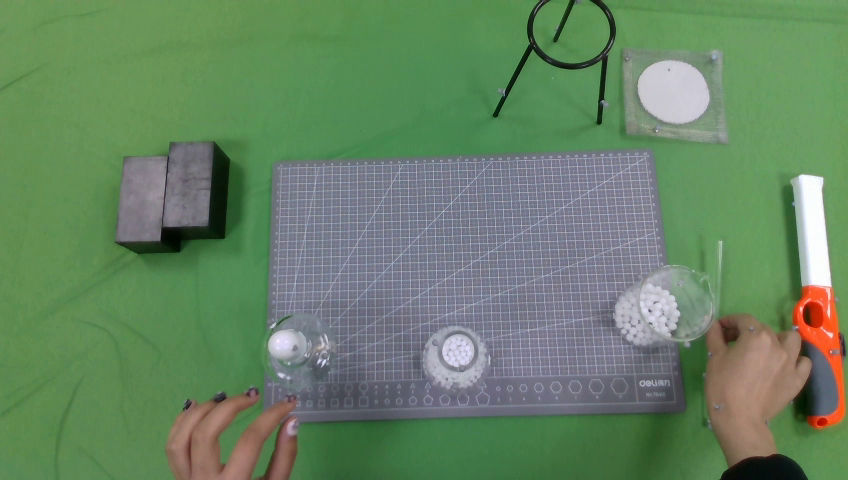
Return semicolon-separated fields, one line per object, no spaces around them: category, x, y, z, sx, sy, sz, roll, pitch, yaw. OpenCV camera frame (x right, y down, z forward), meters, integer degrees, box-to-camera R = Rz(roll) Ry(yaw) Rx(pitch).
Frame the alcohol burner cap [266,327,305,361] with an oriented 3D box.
alcohol burner cap;-0.133;0.098;0.577;0.034;0.048;0.033;1;79;-2

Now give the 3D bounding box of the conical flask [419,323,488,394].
conical flask;0.030;0.114;0.603;0.075;0.122;0.075;0;75;1

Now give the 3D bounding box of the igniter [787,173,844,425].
igniter;0.425;0.059;0.661;0.057;0.025;0.275;6;76;-8

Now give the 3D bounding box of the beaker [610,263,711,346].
beaker;0.239;0.068;0.622;0.084;0.101;0.073;-38;78;-8

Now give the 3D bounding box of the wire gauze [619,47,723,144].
wire gauze;0.299;-0.178;0.734;0.125;0.011;0.121;4;76;0

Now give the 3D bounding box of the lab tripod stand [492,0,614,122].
lab tripod stand;0.147;-0.197;0.677;0.148;0.132;0.147;0;78;2

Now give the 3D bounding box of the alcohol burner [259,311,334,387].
alcohol burner;-0.133;0.108;0.612;0.078;0.120;0.077;-1;75;3

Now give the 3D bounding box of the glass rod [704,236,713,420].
glass rod;0.308;0.092;0.656;0.008;0.008;0.199;5;80;2
